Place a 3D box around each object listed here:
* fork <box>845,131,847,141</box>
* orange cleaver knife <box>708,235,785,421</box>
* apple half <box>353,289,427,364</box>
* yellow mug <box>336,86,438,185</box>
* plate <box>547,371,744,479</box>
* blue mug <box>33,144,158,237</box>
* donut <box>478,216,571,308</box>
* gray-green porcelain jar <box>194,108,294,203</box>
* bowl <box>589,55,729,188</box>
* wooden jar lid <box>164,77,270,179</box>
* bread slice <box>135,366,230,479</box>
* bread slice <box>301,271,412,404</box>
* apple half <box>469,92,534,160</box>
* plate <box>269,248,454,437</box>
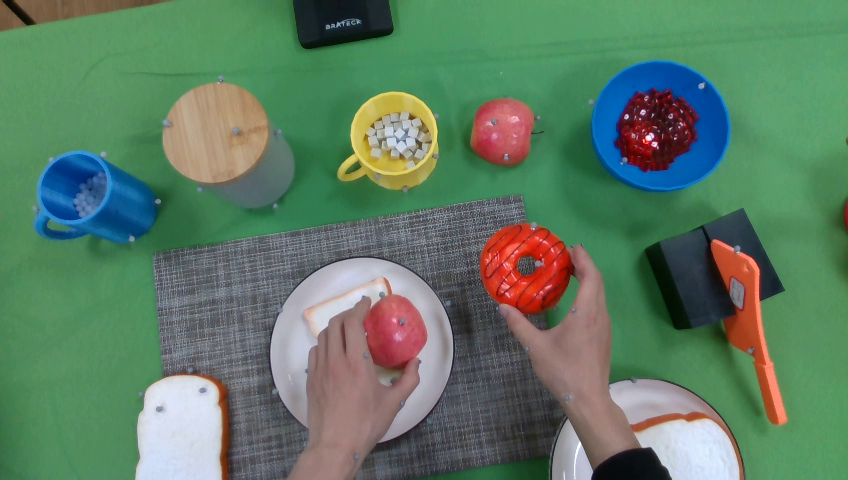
[{"bbox_3d":[0.492,-0.065,0.647,0.209,0.018,0.028,28,79,-36],"label":"fork"},{"bbox_3d":[0.349,0.095,0.659,0.012,0.077,0.212,-20,102,-8],"label":"orange cleaver knife"},{"bbox_3d":[-0.035,0.092,0.638,0.081,0.033,0.081,0,83,2],"label":"apple half"},{"bbox_3d":[-0.047,-0.113,0.712,0.131,0.064,0.099,-33,81,-3],"label":"yellow mug"},{"bbox_3d":[0.236,0.247,0.661,0.209,0.038,0.208,0,81,2],"label":"plate"},{"bbox_3d":[-0.382,-0.044,0.691,0.116,0.106,0.082,-35,81,-4],"label":"blue mug"},{"bbox_3d":[0.106,0.023,0.644,0.099,0.048,0.098,0,81,0],"label":"donut"},{"bbox_3d":[-0.209,-0.102,0.685,0.106,0.127,0.105,0,80,2],"label":"gray-green porcelain jar"},{"bbox_3d":[0.259,-0.126,0.699,0.151,0.077,0.151,0,81,2],"label":"bowl"},{"bbox_3d":[-0.211,-0.113,0.624,0.108,0.021,0.108,0,79,3],"label":"wooden jar lid"},{"bbox_3d":[-0.275,0.211,0.689,0.105,0.019,0.131,-2,82,1],"label":"bread slice"},{"bbox_3d":[-0.068,0.113,0.673,0.107,0.018,0.133,-28,79,17],"label":"bread slice"},{"bbox_3d":[0.093,-0.141,0.719,0.074,0.053,0.080,13,82,6],"label":"apple half"},{"bbox_3d":[-0.069,0.114,0.687,0.207,0.039,0.207,0,81,2],"label":"plate"}]
